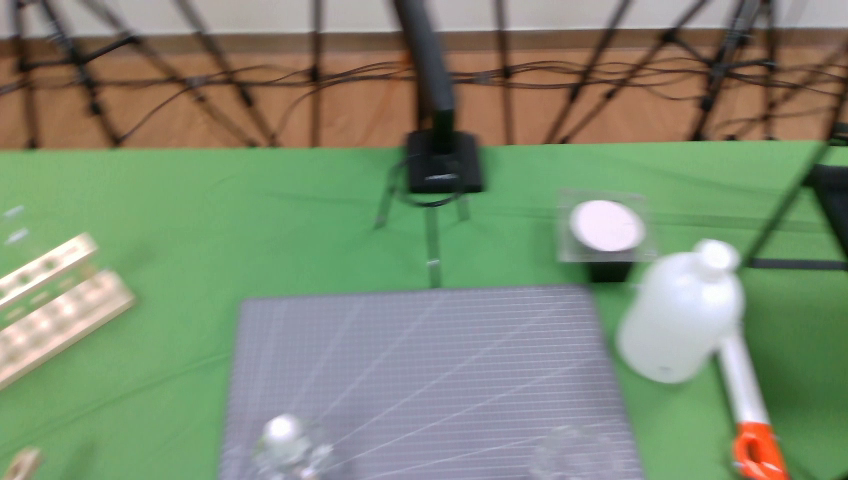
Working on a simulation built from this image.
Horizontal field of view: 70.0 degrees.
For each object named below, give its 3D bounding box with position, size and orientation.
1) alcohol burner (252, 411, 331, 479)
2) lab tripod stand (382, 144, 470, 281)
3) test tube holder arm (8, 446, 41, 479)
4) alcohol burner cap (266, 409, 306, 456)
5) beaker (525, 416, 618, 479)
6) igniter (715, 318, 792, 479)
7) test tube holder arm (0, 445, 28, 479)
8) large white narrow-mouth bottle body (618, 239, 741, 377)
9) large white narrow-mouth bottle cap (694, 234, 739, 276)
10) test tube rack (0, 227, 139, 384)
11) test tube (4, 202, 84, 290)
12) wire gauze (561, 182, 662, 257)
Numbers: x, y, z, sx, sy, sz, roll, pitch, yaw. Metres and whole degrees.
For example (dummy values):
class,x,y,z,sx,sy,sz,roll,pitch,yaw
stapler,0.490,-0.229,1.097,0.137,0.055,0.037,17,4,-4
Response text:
class,x,y,z,sx,sy,sz,roll,pitch,yaw
alcohol burner,-0.133,0.201,0.600,0.078,0.120,0.077,2,52,-2
lab tripod stand,0.011,-0.042,0.777,0.148,0.132,0.147,2,54,-2
test tube holder arm,-0.401,0.273,0.542,0.013,0.015,0.177,4,52,13
alcohol burner cap,-0.132,0.179,0.571,0.034,0.048,0.033,-1,48,1
beaker,0.138,0.228,0.597,0.084,0.101,0.073,-1,53,-1
igniter,0.361,0.207,0.669,0.057,0.025,0.274,10,53,-7
test tube holder arm,-0.398,0.238,0.570,0.010,0.015,0.087,4,52,13
large white narrow-mouth bottle body,0.285,0.068,0.665,0.102,0.196,0.101,1,53,0
large white narrow-mouth bottle cap,0.287,0.014,0.597,0.038,0.024,0.037,1,53,-1
test tube rack,-0.468,0.093,0.690,0.242,0.086,0.066,-37,62,-25
test tube,-0.428,0.012,0.690,0.017,0.151,0.017,-1,52,2
wire gauze,0.240,-0.026,0.789,0.121,0.011,0.124,4,53,2
